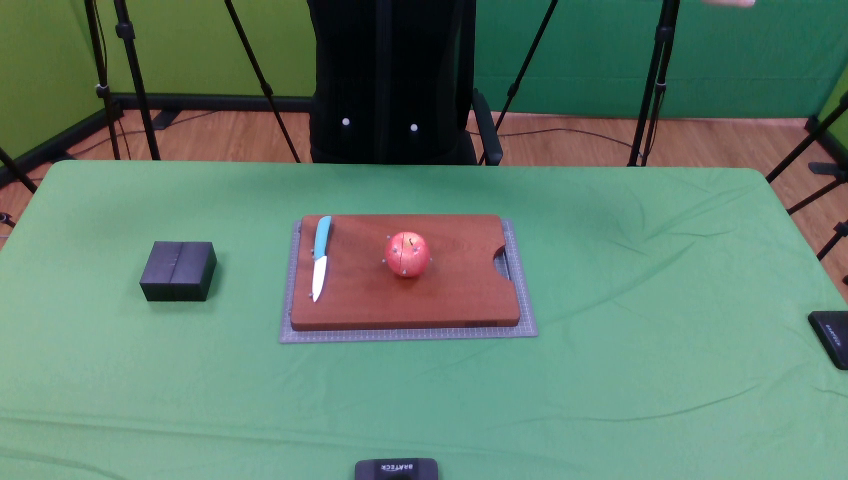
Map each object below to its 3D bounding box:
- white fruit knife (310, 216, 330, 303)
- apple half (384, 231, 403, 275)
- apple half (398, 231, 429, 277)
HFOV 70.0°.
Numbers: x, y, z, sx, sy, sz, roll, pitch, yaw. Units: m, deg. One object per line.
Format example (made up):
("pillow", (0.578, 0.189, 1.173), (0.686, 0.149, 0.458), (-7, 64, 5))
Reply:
("white fruit knife", (-0.194, 0.032, 1.116), (0.027, 0.016, 0.206), (-8, 47, 7))
("apple half", (-0.056, 0.025, 1.093), (0.033, 0.081, 0.081), (5, 46, -2))
("apple half", (-0.018, 0.028, 1.095), (0.053, 0.075, 0.080), (6, 42, -4))
